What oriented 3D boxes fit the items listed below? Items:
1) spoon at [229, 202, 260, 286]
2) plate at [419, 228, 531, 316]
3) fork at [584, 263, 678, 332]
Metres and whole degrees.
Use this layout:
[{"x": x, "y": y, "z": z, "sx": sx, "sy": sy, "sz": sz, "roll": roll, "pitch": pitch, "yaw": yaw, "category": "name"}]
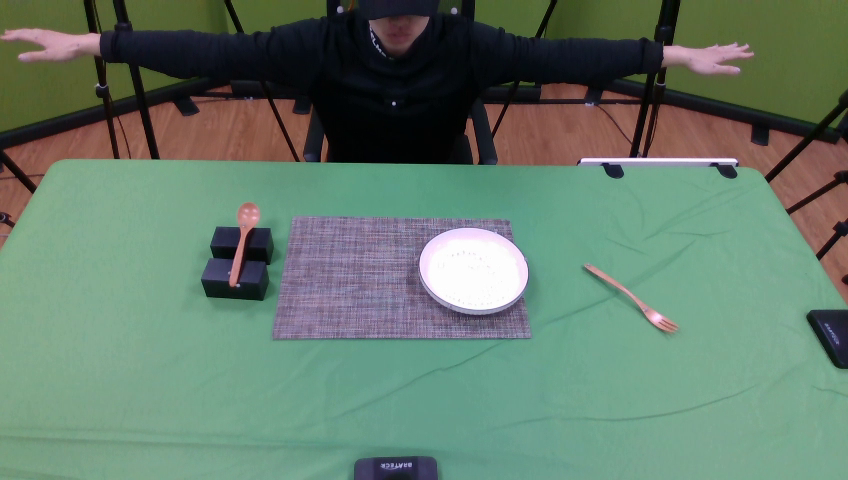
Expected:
[{"x": -0.332, "y": 0.005, "z": 1.100, "sx": 0.042, "sy": 0.022, "sz": 0.192, "roll": 17, "pitch": 43, "yaw": -19, "category": "spoon"}, {"x": 0.093, "y": 0.062, "z": 1.131, "sx": 0.208, "sy": 0.039, "sz": 0.206, "roll": 2, "pitch": 46, "yaw": -2, "category": "plate"}, {"x": 0.380, "y": 0.103, "z": 1.130, "sx": 0.028, "sy": 0.019, "sz": 0.206, "roll": -34, "pitch": 58, "yaw": -23, "category": "fork"}]
